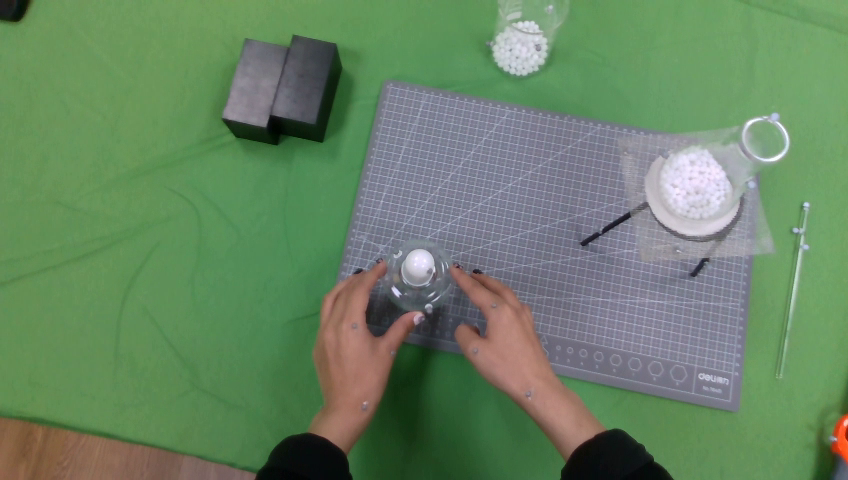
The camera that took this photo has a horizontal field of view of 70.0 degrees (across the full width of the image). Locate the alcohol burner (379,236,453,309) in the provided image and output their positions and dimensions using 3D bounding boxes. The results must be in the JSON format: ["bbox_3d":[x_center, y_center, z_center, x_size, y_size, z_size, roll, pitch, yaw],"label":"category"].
[{"bbox_3d":[-0.008,0.030,0.616,0.078,0.119,0.077,0,79,-1],"label":"alcohol burner"}]

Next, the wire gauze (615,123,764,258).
[{"bbox_3d":[0.246,-0.045,0.558,0.125,0.011,0.121,-4,80,-3],"label":"wire gauze"}]

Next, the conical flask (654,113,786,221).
[{"bbox_3d":[0.247,-0.064,0.501,0.075,0.122,0.075,0,79,0],"label":"conical flask"}]

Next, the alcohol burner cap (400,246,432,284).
[{"bbox_3d":[-0.006,0.021,0.581,0.034,0.048,0.033,2,75,-6],"label":"alcohol burner cap"}]

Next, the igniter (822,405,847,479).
[{"bbox_3d":[0.459,0.180,0.636,0.057,0.025,0.275,26,78,-6],"label":"igniter"}]

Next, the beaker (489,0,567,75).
[{"bbox_3d":[0.116,-0.242,0.687,0.084,0.100,0.073,-29,79,-7],"label":"beaker"}]

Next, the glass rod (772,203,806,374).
[{"bbox_3d":[0.406,0.051,0.673,0.008,0.008,0.199,16,78,3],"label":"glass rod"}]

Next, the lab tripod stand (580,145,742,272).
[{"bbox_3d":[0.246,-0.029,0.622,0.148,0.132,0.147,0,79,0],"label":"lab tripod stand"}]
